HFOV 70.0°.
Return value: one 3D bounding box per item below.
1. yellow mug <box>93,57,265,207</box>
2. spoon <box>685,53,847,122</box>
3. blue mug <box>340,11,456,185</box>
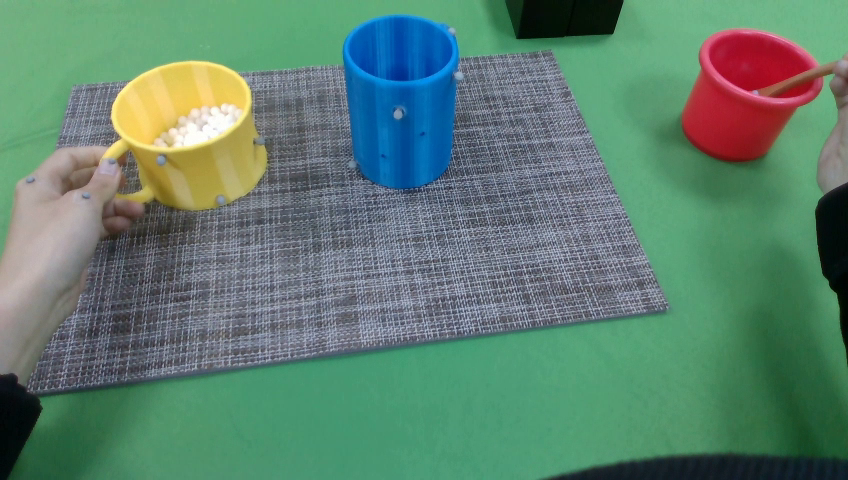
[{"bbox_3d":[-0.190,-0.075,0.461,0.099,0.064,0.130,35,60,20],"label":"yellow mug"},{"bbox_3d":[0.302,-0.129,0.478,0.022,0.193,0.041,48,56,-21],"label":"spoon"},{"bbox_3d":[-0.010,-0.117,0.477,0.082,0.107,0.116,31,58,18],"label":"blue mug"}]
